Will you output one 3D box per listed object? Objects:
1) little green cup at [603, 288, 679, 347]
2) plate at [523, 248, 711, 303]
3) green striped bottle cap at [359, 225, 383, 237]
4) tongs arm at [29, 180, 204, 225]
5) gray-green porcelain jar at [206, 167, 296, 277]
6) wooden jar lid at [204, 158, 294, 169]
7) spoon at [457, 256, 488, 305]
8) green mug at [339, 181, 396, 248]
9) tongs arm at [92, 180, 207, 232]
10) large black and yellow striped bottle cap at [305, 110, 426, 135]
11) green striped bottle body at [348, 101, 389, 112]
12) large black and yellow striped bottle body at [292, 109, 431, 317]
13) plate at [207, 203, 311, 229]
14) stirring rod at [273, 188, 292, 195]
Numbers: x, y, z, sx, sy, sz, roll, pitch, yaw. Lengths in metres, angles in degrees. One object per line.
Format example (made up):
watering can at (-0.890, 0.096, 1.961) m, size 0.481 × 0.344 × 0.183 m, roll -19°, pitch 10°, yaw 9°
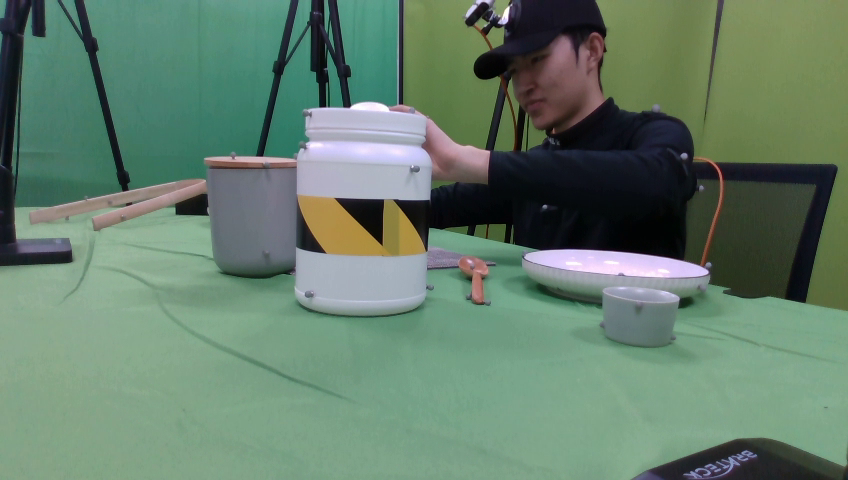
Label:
little green cup at (0.180, 0.064, 0.505) m, size 0.061 × 0.038 × 0.061 m, roll 2°, pitch 7°, yaw 0°
plate at (0.219, 0.041, 0.706) m, size 0.209 × 0.038 × 0.209 m, roll 2°, pitch 7°, yaw 0°
green striped bottle cap at (-0.101, -0.017, 1.138) m, size 0.044 × 0.020 × 0.044 m, roll -3°, pitch 8°, yaw 1°
tongs arm at (-0.609, -0.083, 1.245) m, size 0.050 × 0.026 × 0.386 m, roll 5°, pitch 16°, yaw 23°
gray-green porcelain jar at (-0.201, -0.024, 0.724) m, size 0.106 × 0.126 × 0.106 m, roll -1°, pitch 9°, yaw 1°
wooden jar lid at (-0.202, -0.086, 0.714) m, size 0.108 × 0.020 × 0.108 m, roll 3°, pitch 11°, yaw 0°
spoon at (0.058, 0.044, 0.696) m, size 0.041 × 0.021 × 0.193 m, roll 21°, pitch 7°, yaw 0°
green mug at (-0.097, -0.044, 0.995) m, size 0.093 × 0.105 × 0.125 m, roll -1°, pitch 8°, yaw -21°
tongs arm at (-0.534, -0.076, 1.221) m, size 0.028 × 0.028 × 0.388 m, roll -2°, pitch 15°, yaw 12°
large black and yellow striped bottle cap at (-0.055, -0.110, 0.574) m, size 0.115 × 0.019 × 0.115 m, roll 1°, pitch 7°, yaw 0°
green striped bottle body at (-0.083, -0.146, 0.932) m, size 0.063 × 0.119 × 0.063 m, roll 1°, pitch 37°, yaw 0°
large black and yellow striped bottle body at (-0.060, -0.028, 0.585) m, size 0.131 × 0.184 × 0.130 m, roll 3°, pitch 7°, yaw 0°
plate at (-0.342, -0.050, 1.259) m, size 0.208 × 0.039 × 0.207 m, roll 2°, pitch 7°, yaw 0°
stirring rod at (-0.354, -0.122, 1.519) m, size 0.006 × 0.014 × 0.176 m, roll 2°, pitch 6°, yaw 1°
